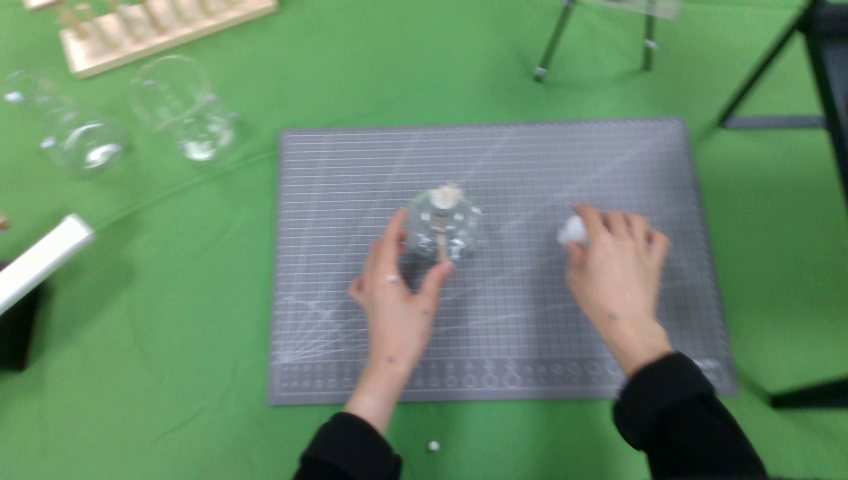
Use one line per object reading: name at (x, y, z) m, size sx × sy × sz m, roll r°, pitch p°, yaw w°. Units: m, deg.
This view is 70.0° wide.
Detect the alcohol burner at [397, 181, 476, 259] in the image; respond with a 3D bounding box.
alcohol burner at (0.012, -0.025, 0.578) m, size 0.078 × 0.120 × 0.077 m, roll 1°, pitch 69°, yaw -1°

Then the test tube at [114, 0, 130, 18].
test tube at (-0.347, -0.294, 0.638) m, size 0.017 × 0.151 × 0.017 m, roll 0°, pitch 64°, yaw 0°

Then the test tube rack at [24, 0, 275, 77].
test tube rack at (-0.303, -0.275, 0.683) m, size 0.242 × 0.086 × 0.066 m, roll -22°, pitch 72°, yaw -7°

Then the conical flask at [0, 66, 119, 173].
conical flask at (-0.373, -0.125, 0.613) m, size 0.075 × 0.122 × 0.075 m, roll 0°, pitch 70°, yaw 1°

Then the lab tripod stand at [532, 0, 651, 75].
lab tripod stand at (0.185, -0.250, 0.646) m, size 0.148 × 0.132 × 0.147 m, roll 0°, pitch 70°, yaw -1°

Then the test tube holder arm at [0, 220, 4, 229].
test tube holder arm at (-0.440, 0.010, 0.572) m, size 0.010 × 0.015 × 0.088 m, roll 42°, pitch 76°, yaw 13°

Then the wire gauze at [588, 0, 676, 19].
wire gauze at (0.191, -0.274, 0.583) m, size 0.121 × 0.011 × 0.124 m, roll 19°, pitch 73°, yaw 5°

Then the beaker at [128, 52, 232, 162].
beaker at (-0.247, -0.129, 0.627) m, size 0.074 × 0.101 × 0.083 m, roll 13°, pitch 72°, yaw 6°

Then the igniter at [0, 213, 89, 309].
igniter at (-0.428, 0.078, 0.545) m, size 0.057 × 0.025 × 0.276 m, roll 41°, pitch 73°, yaw 11°

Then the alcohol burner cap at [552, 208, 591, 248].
alcohol burner cap at (0.151, -0.014, 0.610) m, size 0.034 × 0.048 × 0.033 m, roll 1°, pitch 68°, yaw -2°
